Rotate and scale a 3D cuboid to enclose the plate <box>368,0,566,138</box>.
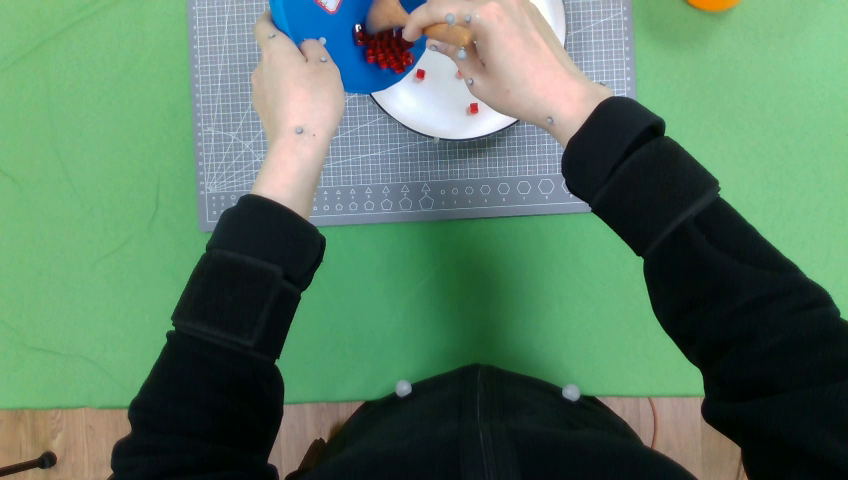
[{"bbox_3d":[0.033,-0.203,0.595,0.209,0.038,0.209,0,91,3],"label":"plate"}]

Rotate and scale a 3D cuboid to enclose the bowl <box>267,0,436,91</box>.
[{"bbox_3d":[-0.071,-0.204,0.498,0.076,0.153,0.151,27,92,44],"label":"bowl"}]

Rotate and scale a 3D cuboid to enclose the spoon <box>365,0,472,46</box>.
[{"bbox_3d":[-0.007,-0.165,0.453,0.022,0.191,0.041,24,102,-36],"label":"spoon"}]
